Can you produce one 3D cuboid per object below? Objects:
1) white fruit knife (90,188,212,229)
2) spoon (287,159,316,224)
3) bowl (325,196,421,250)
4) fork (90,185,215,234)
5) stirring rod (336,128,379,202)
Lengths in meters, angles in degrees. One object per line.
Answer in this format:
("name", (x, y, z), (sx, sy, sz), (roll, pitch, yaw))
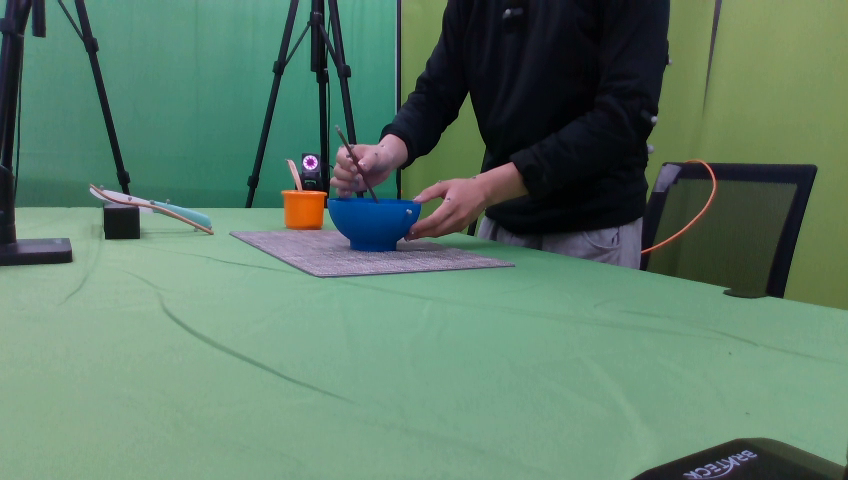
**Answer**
("white fruit knife", (-0.478, -0.058, 1.073), (0.208, 0.027, 0.016), (17, -4, -30))
("spoon", (-0.261, -0.104, 1.263), (0.042, 0.193, 0.021), (-1, -37, -28))
("bowl", (-0.081, -0.027, 0.957), (0.151, 0.077, 0.151), (2, 7, 0))
("fork", (-0.452, -0.049, 1.018), (0.208, 0.018, 0.028), (21, -7, -33))
("stirring rod", (-0.095, -0.099, 0.947), (0.006, 0.176, 0.014), (-33, 32, -9))
